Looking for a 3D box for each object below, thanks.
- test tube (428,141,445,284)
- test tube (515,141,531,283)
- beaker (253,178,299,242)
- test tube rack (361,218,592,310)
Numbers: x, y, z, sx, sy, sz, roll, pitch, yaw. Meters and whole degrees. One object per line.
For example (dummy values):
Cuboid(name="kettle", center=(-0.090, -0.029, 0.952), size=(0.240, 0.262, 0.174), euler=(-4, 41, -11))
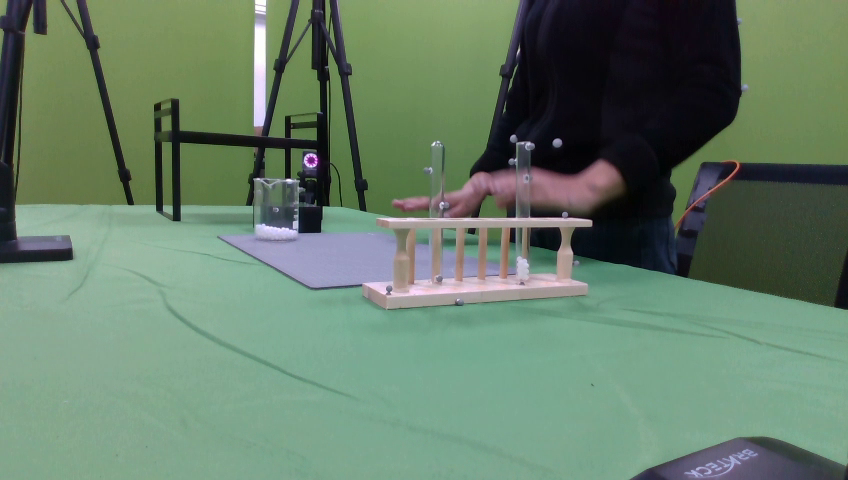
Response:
Cuboid(name="test tube", center=(0.013, -0.027, 0.629), size=(0.017, 0.150, 0.017), euler=(1, 8, 0))
Cuboid(name="test tube", center=(0.104, -0.028, 0.635), size=(0.017, 0.150, 0.017), euler=(-1, 11, 1))
Cuboid(name="beaker", center=(-0.243, -0.050, 0.990), size=(0.074, 0.100, 0.084), euler=(2, 9, 1))
Cuboid(name="test tube rack", center=(0.060, 0.018, 0.640), size=(0.243, 0.085, 0.066), euler=(-1, 8, -27))
